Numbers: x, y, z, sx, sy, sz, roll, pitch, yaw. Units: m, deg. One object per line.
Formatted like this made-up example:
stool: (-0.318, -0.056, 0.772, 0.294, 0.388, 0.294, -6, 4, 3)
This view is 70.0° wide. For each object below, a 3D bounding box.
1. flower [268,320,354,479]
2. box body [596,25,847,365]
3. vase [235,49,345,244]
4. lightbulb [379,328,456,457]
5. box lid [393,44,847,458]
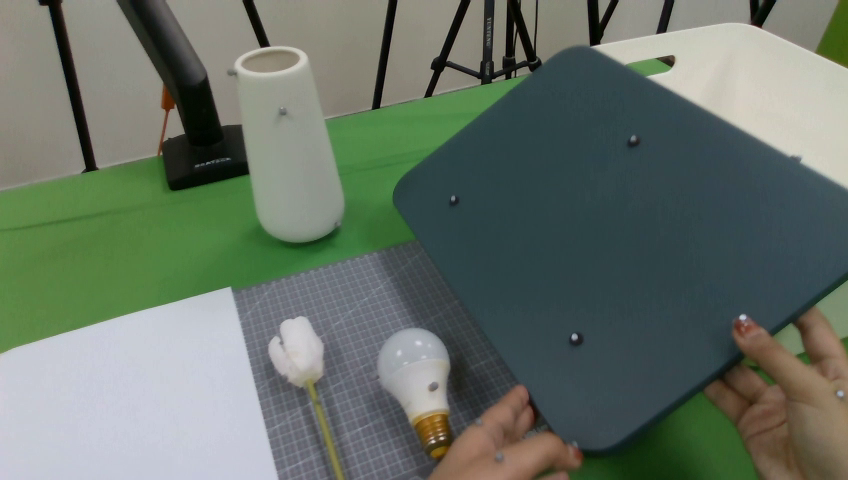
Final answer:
flower: (-0.045, 0.193, 0.432, 0.044, 0.038, 0.357, -39, 49, 3)
box body: (0.326, -0.070, 0.620, 0.255, 0.162, 0.359, -15, 41, -14)
vase: (-0.143, -0.094, 0.643, 0.098, 0.202, 0.097, -2, 39, 2)
lightbulb: (0.000, 0.121, 0.487, 0.059, 0.060, 0.106, -13, 56, -12)
box lid: (0.134, -0.027, 0.515, 0.263, 0.015, 0.367, -39, 43, 3)
